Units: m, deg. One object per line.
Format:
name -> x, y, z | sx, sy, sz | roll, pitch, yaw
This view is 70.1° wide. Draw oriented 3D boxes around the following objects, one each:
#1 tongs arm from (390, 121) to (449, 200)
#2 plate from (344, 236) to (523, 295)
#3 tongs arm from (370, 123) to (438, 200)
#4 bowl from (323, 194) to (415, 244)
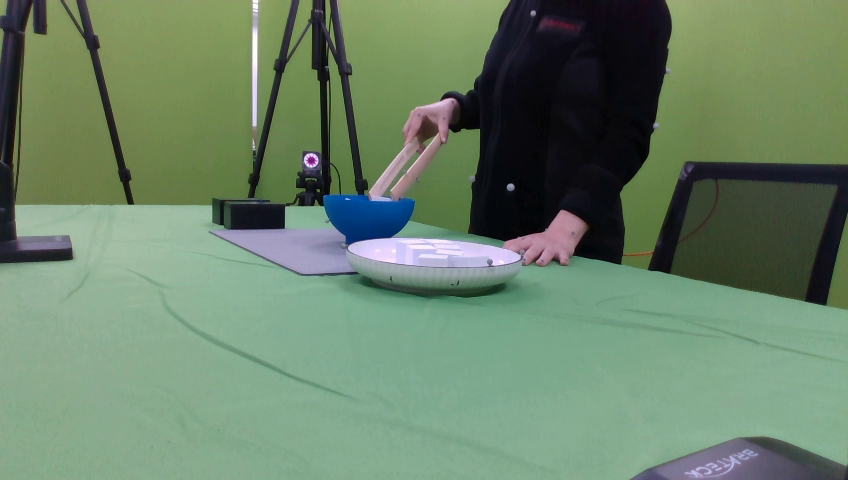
tongs arm -> -0.010, -0.155, 1.139 | 0.050, 0.026, 0.385 | -12, 24, 26
plate -> 0.010, 0.030, 0.707 | 0.208, 0.039, 0.207 | 3, 8, 0
tongs arm -> -0.033, -0.150, 1.148 | 0.028, 0.028, 0.388 | -17, 22, 24
bowl -> -0.091, -0.032, 0.986 | 0.151, 0.077, 0.151 | 2, 7, 0
